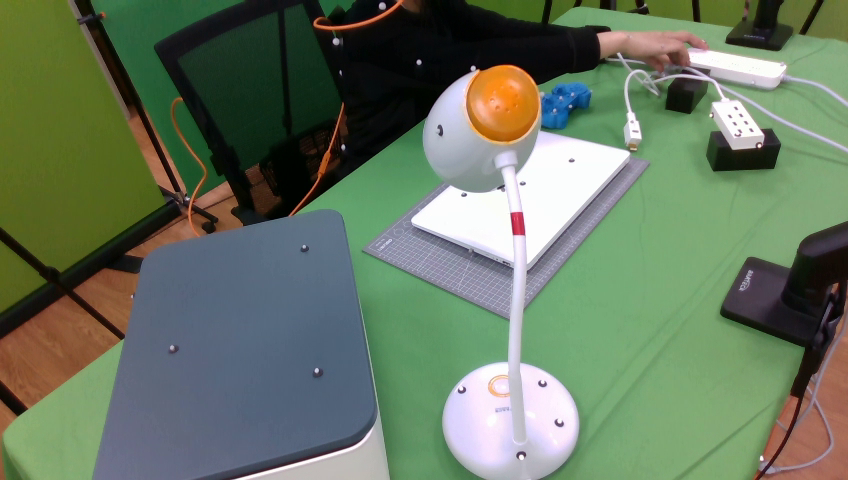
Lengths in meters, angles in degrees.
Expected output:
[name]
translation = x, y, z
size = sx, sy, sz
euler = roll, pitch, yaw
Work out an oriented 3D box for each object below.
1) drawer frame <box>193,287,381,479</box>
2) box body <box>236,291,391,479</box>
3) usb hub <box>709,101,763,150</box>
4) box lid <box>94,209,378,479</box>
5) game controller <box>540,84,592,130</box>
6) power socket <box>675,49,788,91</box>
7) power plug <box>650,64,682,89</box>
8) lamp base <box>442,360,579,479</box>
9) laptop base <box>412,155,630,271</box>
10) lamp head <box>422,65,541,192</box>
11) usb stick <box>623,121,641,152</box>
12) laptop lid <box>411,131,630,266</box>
[drawer frame]
translation = -0.172, 0.176, 0.755
size = 0.202, 0.083, 0.212
euler = -14, 42, -7
[box body]
translation = -0.190, 0.161, 0.723
size = 0.255, 0.161, 0.361
euler = -13, 40, -5
[usb hub]
translation = 0.534, -0.199, 1.040
size = 0.049, 0.025, 0.124
euler = -5, 39, 8
[box lid]
translation = -0.202, 0.094, 0.680
size = 0.264, 0.015, 0.368
euler = -13, 39, -5
[game controller]
translation = 0.277, -0.282, 1.251
size = 0.096, 0.052, 0.155
euler = 27, 52, 30
[power socket]
translation = 0.646, -0.363, 1.284
size = 0.225, 0.033, 0.072
euler = 26, 52, 35
[power plug]
translation = 0.498, -0.341, 1.263
size = 0.035, 0.052, 0.072
euler = 19, 10, -7
[lamp base]
translation = 0.094, 0.158, 0.657
size = 0.161, 0.181, 0.178
euler = -14, 42, -5
[laptop base]
translation = 0.176, -0.084, 1.056
size = 0.233, 0.023, 0.355
euler = 20, 48, 36
[lamp head]
translation = 0.060, -0.106, 0.560
size = 0.113, 0.112, 0.122
euler = -16, 0, -8
[usb stick]
translation = 0.389, -0.192, 1.129
size = 0.021, 0.027, 0.059
euler = 7, 62, -8
[laptop lid]
translation = 0.172, -0.094, 1.050
size = 0.239, 0.013, 0.358
euler = 23, 49, 36
